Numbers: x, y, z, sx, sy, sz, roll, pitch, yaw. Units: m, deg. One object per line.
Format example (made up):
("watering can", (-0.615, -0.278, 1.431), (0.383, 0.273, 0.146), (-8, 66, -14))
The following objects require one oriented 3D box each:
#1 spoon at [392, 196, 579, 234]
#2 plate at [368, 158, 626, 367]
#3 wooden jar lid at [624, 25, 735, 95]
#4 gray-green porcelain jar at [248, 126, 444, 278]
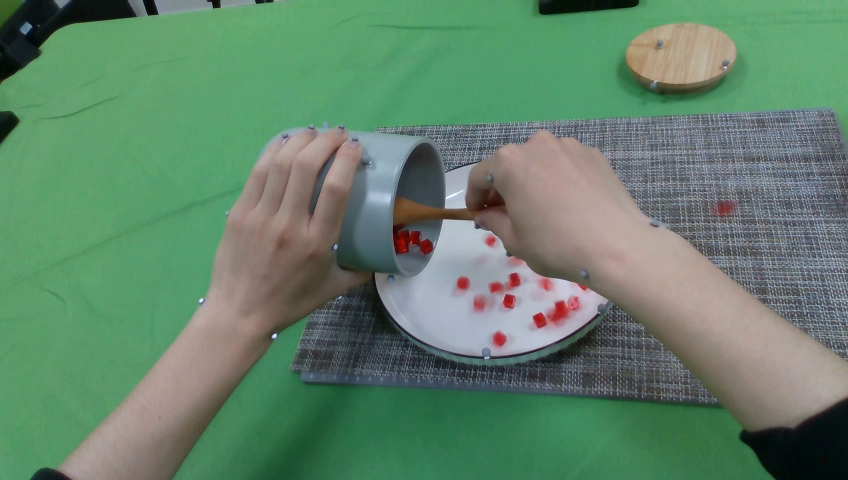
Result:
("spoon", (0.021, -0.020, 0.450), (0.193, 0.022, 0.041), (-1, 74, 30))
("plate", (0.058, 0.017, 0.504), (0.207, 0.039, 0.205), (-7, 50, 9))
("wooden jar lid", (0.267, -0.189, 0.638), (0.108, 0.021, 0.107), (-7, 51, 9))
("gray-green porcelain jar", (-0.061, -0.032, 0.468), (0.126, 0.107, 0.105), (9, 54, 20))
